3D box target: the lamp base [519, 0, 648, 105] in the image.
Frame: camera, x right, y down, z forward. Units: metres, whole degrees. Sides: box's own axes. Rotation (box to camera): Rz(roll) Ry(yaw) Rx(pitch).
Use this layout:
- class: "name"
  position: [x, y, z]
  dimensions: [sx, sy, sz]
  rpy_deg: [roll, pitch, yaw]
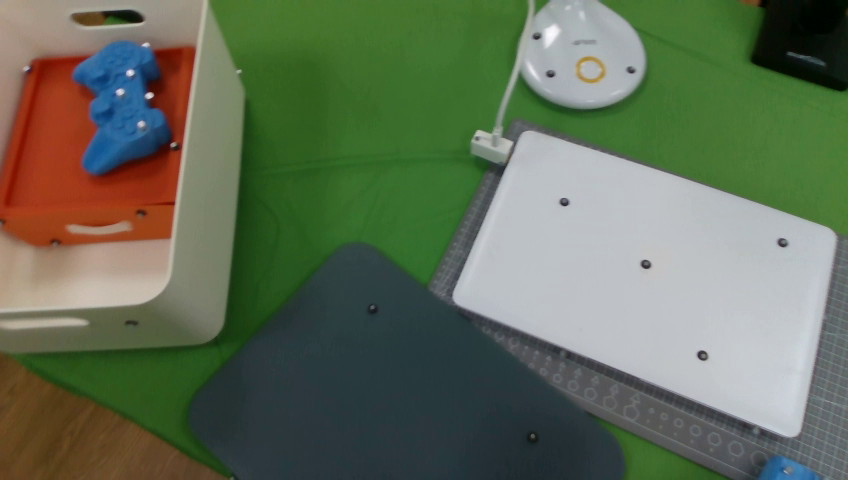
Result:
- class: "lamp base"
  position: [0.194, -0.281, 0.700]
  dimensions: [0.161, 0.181, 0.177]
  rpy_deg: [-13, 63, -4]

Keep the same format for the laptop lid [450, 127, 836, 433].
- class: "laptop lid"
  position: [0.230, 0.025, 0.636]
  dimensions: [0.355, 0.013, 0.240]
  rpy_deg: [22, 71, 12]

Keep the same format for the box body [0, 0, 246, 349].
- class: "box body"
  position: [-0.338, -0.075, 0.633]
  dimensions: [0.254, 0.161, 0.361]
  rpy_deg: [-3, 65, 0]

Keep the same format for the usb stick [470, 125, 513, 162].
- class: "usb stick"
  position: [0.084, -0.109, 0.700]
  dimensions: [0.059, 0.027, 0.021]
  rpy_deg: [26, 64, 10]

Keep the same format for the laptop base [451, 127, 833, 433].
- class: "laptop base"
  position: [0.232, 0.028, 0.647]
  dimensions: [0.353, 0.023, 0.234]
  rpy_deg: [21, 72, 11]

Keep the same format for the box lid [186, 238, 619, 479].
- class: "box lid"
  position: [-0.027, 0.183, 0.590]
  dimensions: [0.369, 0.015, 0.263]
  rpy_deg: [37, 72, 16]

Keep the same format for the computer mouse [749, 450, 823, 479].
- class: "computer mouse"
  position: [0.311, 0.246, 0.534]
  dimensions: [0.062, 0.041, 0.117]
  rpy_deg: [35, 70, 17]

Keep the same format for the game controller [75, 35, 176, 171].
- class: "game controller"
  position: [-0.327, -0.155, 0.651]
  dimensions: [0.097, 0.052, 0.154]
  rpy_deg: [-15, 66, -9]
